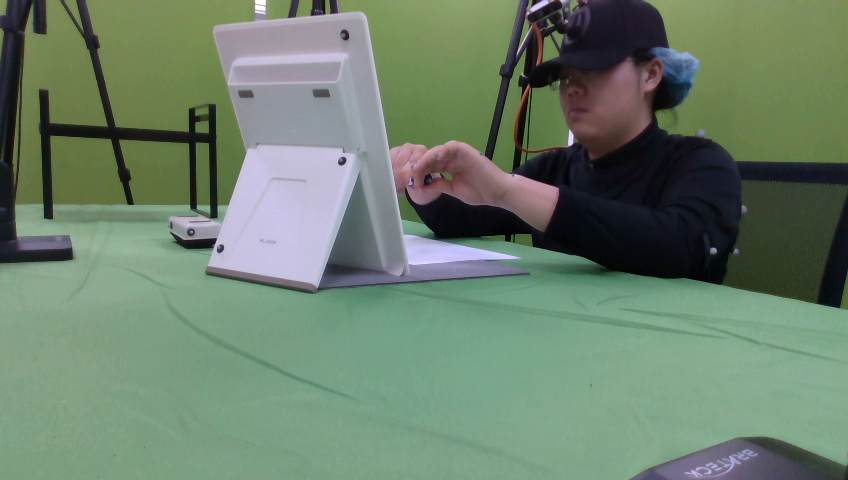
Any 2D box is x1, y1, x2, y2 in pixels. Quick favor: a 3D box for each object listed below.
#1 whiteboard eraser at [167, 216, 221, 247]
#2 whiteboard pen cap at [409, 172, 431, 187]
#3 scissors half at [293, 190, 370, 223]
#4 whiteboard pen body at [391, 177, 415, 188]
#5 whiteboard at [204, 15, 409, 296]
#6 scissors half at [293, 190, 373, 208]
[{"bbox_3d":[-0.350,-0.013,0.920,0.056,0.042,0.112,0,7,-35],"label":"whiteboard eraser"},{"bbox_3d":[-0.006,-0.084,0.859,0.018,0.018,0.033,-3,-8,-37],"label":"whiteboard pen cap"},{"bbox_3d":[-0.205,-0.077,1.338,0.175,0.040,0.013,22,12,-8],"label":"scissors half"},{"bbox_3d":[-0.042,-0.087,0.907,0.017,0.017,0.140,-3,7,-37],"label":"whiteboard pen body"},{"bbox_3d":[-0.166,-0.072,0.669,0.216,0.305,0.144,8,30,30],"label":"whiteboard"},{"bbox_3d":[-0.201,-0.096,1.332,0.175,0.040,0.013,5,19,-4],"label":"scissors half"}]
